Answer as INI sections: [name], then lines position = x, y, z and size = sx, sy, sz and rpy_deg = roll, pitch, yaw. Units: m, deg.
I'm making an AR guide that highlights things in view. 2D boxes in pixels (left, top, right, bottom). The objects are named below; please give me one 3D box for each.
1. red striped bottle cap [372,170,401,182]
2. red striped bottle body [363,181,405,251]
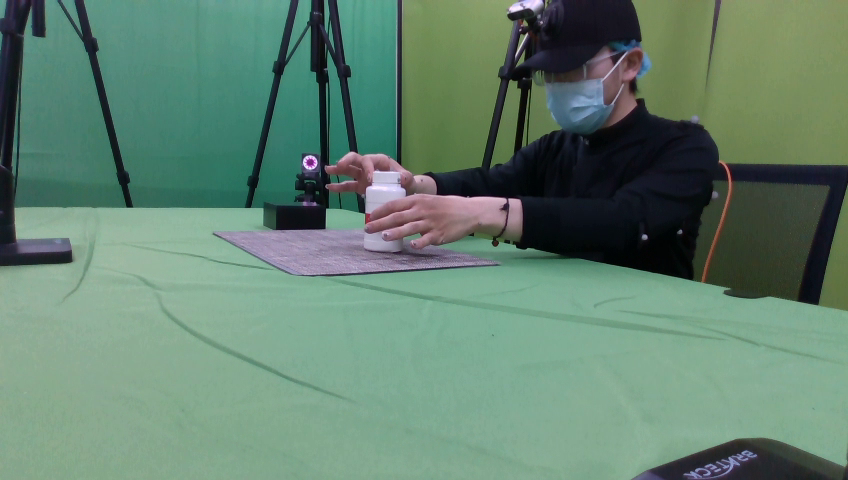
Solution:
[red striped bottle cap]
position = -0.058, -0.099, 0.932
size = 0.044, 0.017, 0.044
rpy_deg = 0, 3, 0
[red striped bottle body]
position = -0.062, -0.045, 0.938
size = 0.063, 0.119, 0.063
rpy_deg = 2, 7, 0
